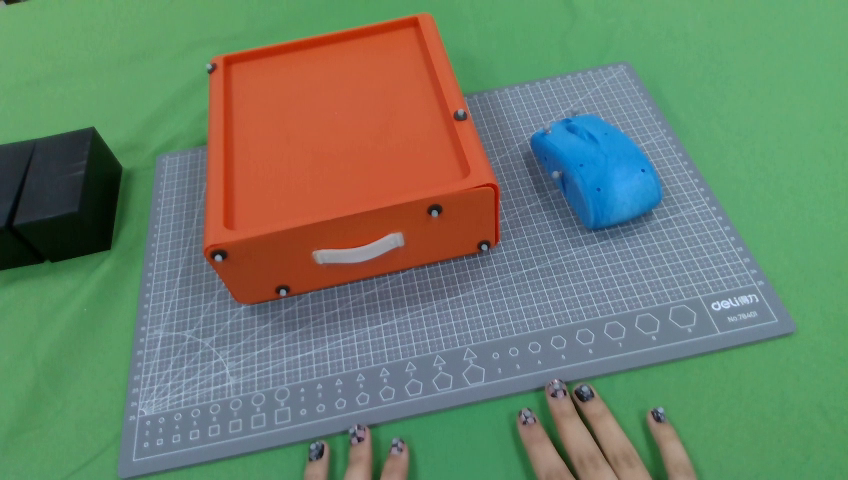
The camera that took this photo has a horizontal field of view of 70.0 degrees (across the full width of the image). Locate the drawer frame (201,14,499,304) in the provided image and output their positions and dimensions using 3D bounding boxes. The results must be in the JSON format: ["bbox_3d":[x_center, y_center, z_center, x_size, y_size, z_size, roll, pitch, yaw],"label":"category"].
[{"bbox_3d":[-0.065,-0.072,0.484,0.202,0.083,0.211,-14,52,-2],"label":"drawer frame"}]

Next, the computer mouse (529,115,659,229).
[{"bbox_3d":[0.132,-0.061,0.480,0.063,0.041,0.116,-19,49,-5],"label":"computer mouse"}]

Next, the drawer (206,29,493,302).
[{"bbox_3d":[-0.064,-0.070,0.484,0.194,0.074,0.209,-13,52,-2],"label":"drawer"}]
